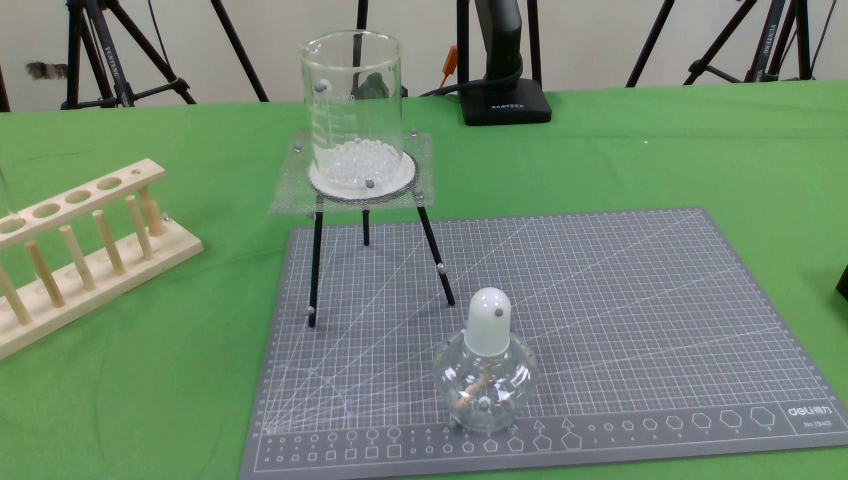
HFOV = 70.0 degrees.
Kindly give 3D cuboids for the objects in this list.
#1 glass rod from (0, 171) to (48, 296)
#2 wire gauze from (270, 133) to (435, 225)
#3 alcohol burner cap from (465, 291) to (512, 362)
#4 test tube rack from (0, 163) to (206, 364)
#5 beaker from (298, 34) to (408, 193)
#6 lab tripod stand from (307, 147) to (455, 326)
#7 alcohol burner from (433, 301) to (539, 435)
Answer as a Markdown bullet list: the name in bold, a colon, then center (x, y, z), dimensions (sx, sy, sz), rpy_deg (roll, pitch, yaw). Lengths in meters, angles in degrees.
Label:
- **glass rod**: center (-0.355, -0.035, 0.514), dimensions (0.008, 0.201, 0.008), rpy_deg (0, 30, 0)
- **wire gauze**: center (-0.053, -0.054, 0.486), dimensions (0.121, 0.011, 0.124), rpy_deg (-1, 40, 0)
- **alcohol burner cap**: center (0.045, 0.055, 0.408), dimensions (0.034, 0.048, 0.033), rpy_deg (1, 39, -1)
- **test tube rack**: center (-0.331, 0.024, 0.545), dimensions (0.066, 0.086, 0.242), rpy_deg (29, 47, 33)
- **beaker**: center (-0.054, -0.094, 0.458), dimensions (0.083, 0.101, 0.074), rpy_deg (23, 43, 25)
- **lab tripod stand**: center (-0.043, -0.004, 0.529), dimensions (0.148, 0.132, 0.147), rpy_deg (0, 37, 0)
- **alcohol burner**: center (0.045, 0.084, 0.430), dimensions (0.078, 0.120, 0.077), rpy_deg (0, 40, 1)
